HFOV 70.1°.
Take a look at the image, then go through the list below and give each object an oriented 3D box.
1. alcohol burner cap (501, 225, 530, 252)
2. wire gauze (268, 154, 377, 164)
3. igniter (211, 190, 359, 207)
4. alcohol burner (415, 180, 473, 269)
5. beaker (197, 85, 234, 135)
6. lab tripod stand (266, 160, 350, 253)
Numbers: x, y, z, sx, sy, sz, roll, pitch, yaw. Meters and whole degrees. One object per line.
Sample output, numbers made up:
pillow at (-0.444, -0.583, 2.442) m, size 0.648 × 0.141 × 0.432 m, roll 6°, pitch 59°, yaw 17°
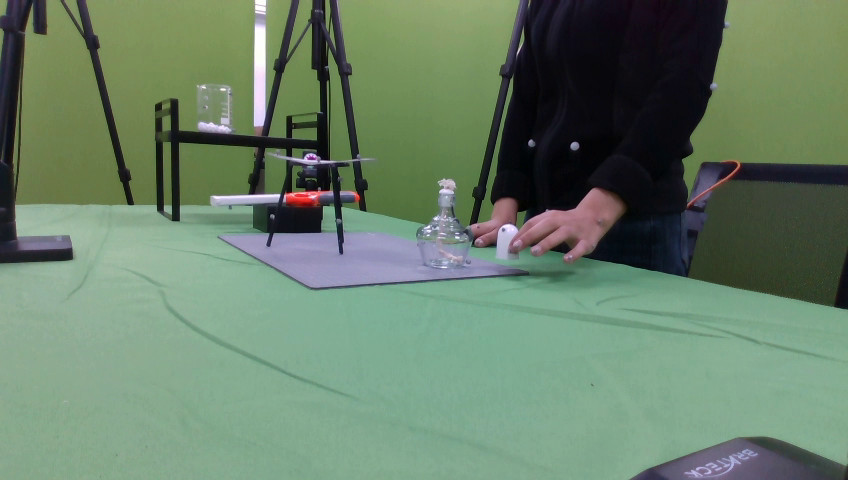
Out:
alcohol burner cap at (0.116, -0.004, 0.784) m, size 0.034 × 0.034 × 0.048 m, roll 2°, pitch 9°, yaw -5°
wire gauze at (-0.154, -0.120, 0.910) m, size 0.122 × 0.011 × 0.124 m, roll -5°, pitch 11°, yaw -44°
igniter at (-0.257, -0.079, 1.148) m, size 0.278 × 0.025 × 0.057 m, roll -5°, pitch 12°, yaw -30°
alcohol burner at (0.028, -0.021, 0.807) m, size 0.078 × 0.119 × 0.078 m, roll 4°, pitch 5°, yaw 0°
beaker at (-0.444, -0.275, 1.283) m, size 0.074 × 0.100 × 0.084 m, roll 5°, pitch 8°, yaw 22°
lab tripod stand at (-0.163, -0.054, 0.915) m, size 0.148 × 0.131 × 0.148 m, roll 2°, pitch 9°, yaw 0°
